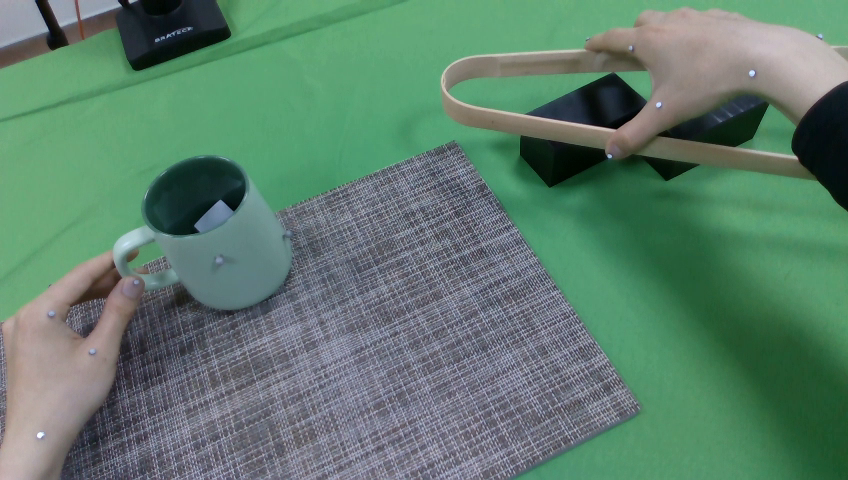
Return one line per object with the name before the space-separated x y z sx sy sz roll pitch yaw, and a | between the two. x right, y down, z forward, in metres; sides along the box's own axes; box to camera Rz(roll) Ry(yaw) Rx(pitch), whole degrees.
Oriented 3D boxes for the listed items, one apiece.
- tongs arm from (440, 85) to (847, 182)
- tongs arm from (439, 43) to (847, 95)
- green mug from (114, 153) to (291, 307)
tongs arm | 0.196 -0.083 0.495 0.386 0.028 0.028 11 65 12
tongs arm | 0.207 -0.146 0.534 0.384 0.027 0.050 1 60 6
green mug | -0.177 0.001 0.481 0.125 0.106 0.091 -24 57 -11
